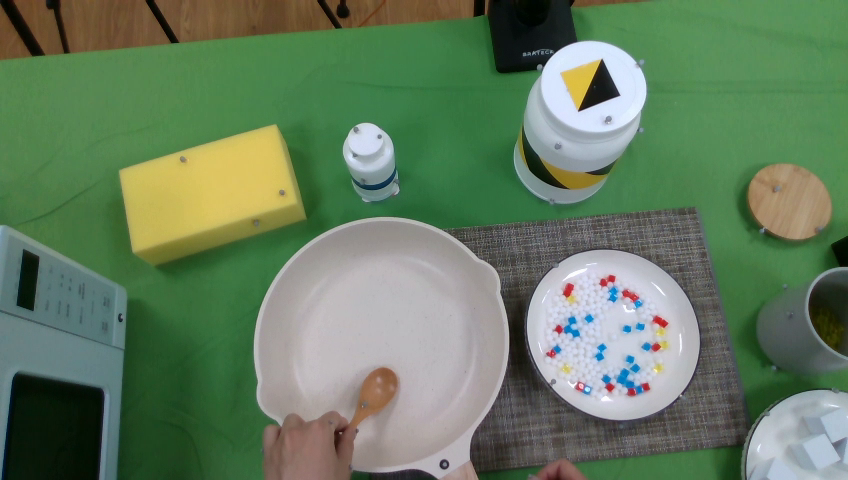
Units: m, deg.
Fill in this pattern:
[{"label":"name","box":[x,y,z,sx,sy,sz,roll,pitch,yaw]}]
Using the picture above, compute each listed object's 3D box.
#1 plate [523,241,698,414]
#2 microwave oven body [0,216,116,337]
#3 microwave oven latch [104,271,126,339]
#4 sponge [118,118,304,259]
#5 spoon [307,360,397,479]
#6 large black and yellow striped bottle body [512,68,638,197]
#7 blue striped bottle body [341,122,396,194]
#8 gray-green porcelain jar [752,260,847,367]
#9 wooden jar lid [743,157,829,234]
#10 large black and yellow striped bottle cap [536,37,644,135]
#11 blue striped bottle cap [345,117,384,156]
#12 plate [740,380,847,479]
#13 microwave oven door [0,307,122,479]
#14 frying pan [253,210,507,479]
[{"label":"plate","box":[0.223,0.104,0.739,0.209,0.038,0.208,0,73,1]},{"label":"microwave oven body","box":[-0.517,0.230,0.589,0.326,0.261,0.439,-5,73,-1]},{"label":"microwave oven latch","box":[-0.382,0.079,0.736,0.030,0.029,0.078,-3,73,-1]},{"label":"sponge","box":[-0.273,-0.066,0.787,0.207,0.061,0.117,-18,74,-6]},{"label":"spoon","box":[-0.085,0.208,0.672,0.041,0.022,0.193,13,40,24]},{"label":"large black and yellow striped bottle body","box":[0.182,-0.144,0.743,0.131,0.185,0.130,0,72,1]},{"label":"blue striped bottle body","box":[-0.070,-0.108,0.767,0.063,0.121,0.062,0,73,1]},{"label":"gray-green porcelain jar","box":[0.454,0.090,0.699,0.106,0.127,0.105,0,72,1]},{"label":"wooden jar lid","box":[0.475,-0.058,0.800,0.108,0.021,0.108,0,74,1]},{"label":"large black and yellow striped bottle cap","box":[0.181,-0.170,0.661,0.115,0.019,0.114,0,72,1]},{"label":"blue striped bottle cap","box":[-0.071,-0.123,0.718,0.044,0.021,0.044,-1,70,2]},{"label":"plate","box":[0.463,0.266,0.691,0.208,0.039,0.206,0,73,1]},{"label":"microwave oven door","box":[-0.369,0.257,0.574,0.039,0.245,0.353,-5,72,-1]},{"label":"frying pan","box":[0.000,0.192,0.679,0.307,0.103,0.483,-28,66,-7]}]
